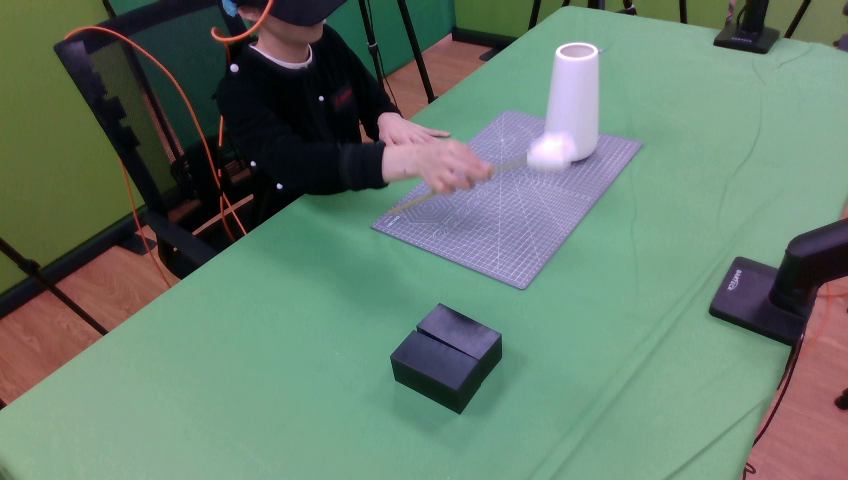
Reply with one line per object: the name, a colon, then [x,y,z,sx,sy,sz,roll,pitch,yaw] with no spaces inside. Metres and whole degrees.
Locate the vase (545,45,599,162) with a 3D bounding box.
vase: [0.267,-0.238,1.074,0.098,0.201,0.097,-4,42,4]

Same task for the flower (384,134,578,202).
flower: [0.058,-0.088,0.864,0.359,0.038,0.044,-11,58,46]
